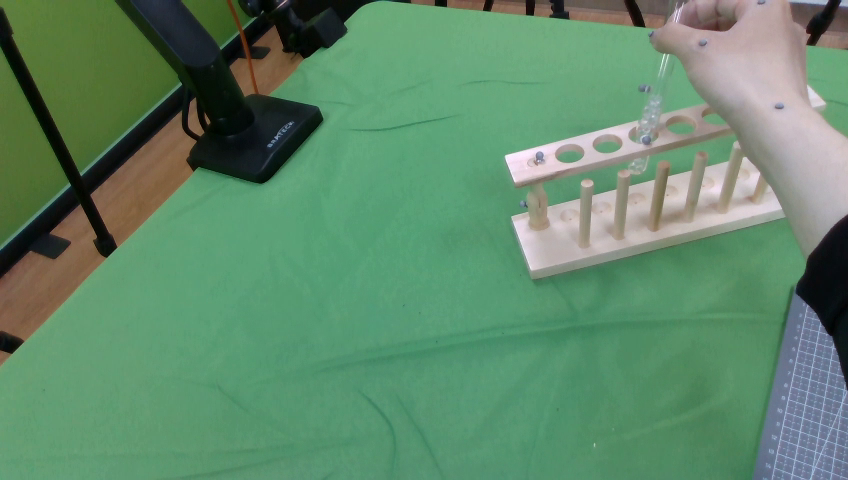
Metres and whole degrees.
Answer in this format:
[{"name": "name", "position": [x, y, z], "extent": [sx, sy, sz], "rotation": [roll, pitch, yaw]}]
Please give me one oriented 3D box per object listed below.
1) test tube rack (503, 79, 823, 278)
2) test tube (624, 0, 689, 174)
[{"name": "test tube rack", "position": [0.193, -0.048, 0.491], "extent": [0.242, 0.086, 0.066], "rotation": [-14, 48, 1]}, {"name": "test tube", "position": [0.175, -0.122, 0.456], "extent": [0.017, 0.151, 0.017], "rotation": [6, 23, -2]}]
